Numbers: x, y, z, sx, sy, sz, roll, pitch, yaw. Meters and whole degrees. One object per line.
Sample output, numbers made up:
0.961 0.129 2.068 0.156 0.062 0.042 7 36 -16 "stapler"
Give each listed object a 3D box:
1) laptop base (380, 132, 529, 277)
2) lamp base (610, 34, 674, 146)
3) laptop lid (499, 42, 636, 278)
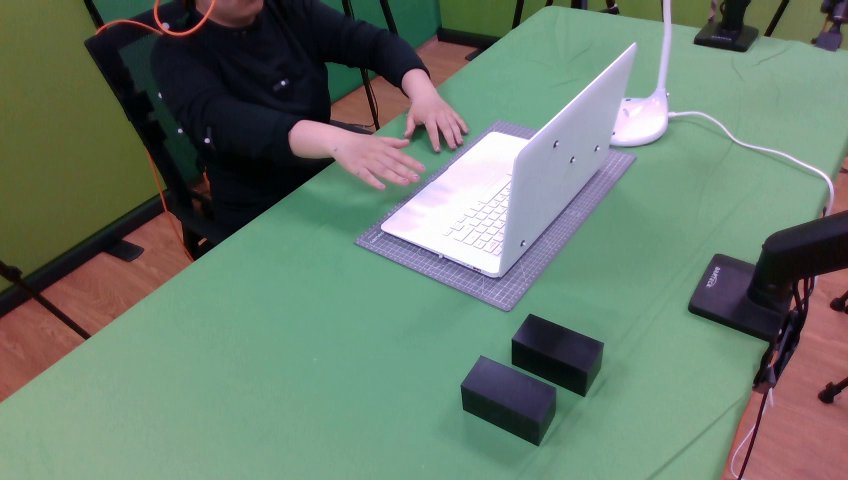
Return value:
0.122 -0.077 1.042 0.233 0.023 0.355 20 47 33 "laptop base"
0.392 -0.291 1.129 0.180 0.181 0.159 -11 41 -8 "lamp base"
0.217 -0.122 0.898 0.013 0.242 0.358 28 50 25 "laptop lid"
